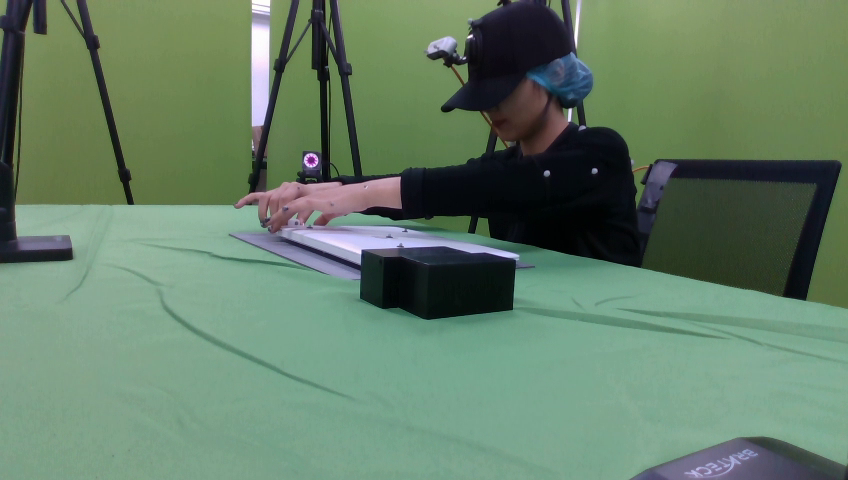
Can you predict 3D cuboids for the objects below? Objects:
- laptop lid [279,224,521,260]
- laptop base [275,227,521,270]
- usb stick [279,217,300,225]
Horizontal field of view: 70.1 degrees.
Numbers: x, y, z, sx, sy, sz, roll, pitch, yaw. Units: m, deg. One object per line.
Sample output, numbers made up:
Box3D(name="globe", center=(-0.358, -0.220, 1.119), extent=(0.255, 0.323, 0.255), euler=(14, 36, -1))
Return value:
Box3D(name="laptop lid", center=(-0.052, -0.001, 0.911), extent=(0.243, 0.013, 0.355), euler=(0, 7, -31))
Box3D(name="laptop base", center=(-0.055, 0.010, 0.911), extent=(0.237, 0.023, 0.352), euler=(2, 6, -33))
Box3D(name="usb stick", center=(-0.226, -0.024, 1.027), extent=(0.021, 0.027, 0.059), euler=(1, 8, -34))
